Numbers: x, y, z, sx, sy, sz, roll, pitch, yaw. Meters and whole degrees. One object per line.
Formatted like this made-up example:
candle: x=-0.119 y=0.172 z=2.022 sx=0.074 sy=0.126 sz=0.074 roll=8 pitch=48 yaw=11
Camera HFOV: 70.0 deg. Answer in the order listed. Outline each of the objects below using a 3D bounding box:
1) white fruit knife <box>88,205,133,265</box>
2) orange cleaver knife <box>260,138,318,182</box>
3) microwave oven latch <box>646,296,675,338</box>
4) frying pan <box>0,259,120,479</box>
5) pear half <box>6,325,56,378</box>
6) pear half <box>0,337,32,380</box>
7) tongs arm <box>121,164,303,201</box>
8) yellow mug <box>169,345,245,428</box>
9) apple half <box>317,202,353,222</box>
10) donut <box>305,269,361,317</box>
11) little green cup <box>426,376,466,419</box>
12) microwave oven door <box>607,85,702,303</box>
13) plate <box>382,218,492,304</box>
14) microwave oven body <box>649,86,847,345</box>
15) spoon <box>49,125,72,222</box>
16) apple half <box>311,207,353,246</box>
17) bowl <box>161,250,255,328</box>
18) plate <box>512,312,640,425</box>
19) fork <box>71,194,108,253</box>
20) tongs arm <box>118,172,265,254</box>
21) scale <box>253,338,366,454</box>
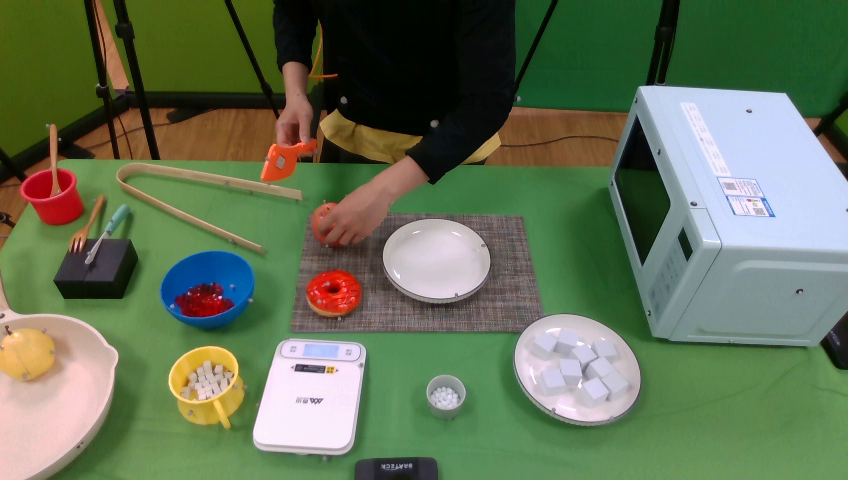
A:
white fruit knife: x=-0.584 y=-0.013 z=1.129 sx=0.016 sy=0.027 sz=0.206 roll=0 pitch=32 yaw=-5
orange cleaver knife: x=-0.251 y=-0.152 z=1.136 sx=0.012 sy=0.077 sz=0.211 roll=22 pitch=19 yaw=7
microwave oven latch: x=0.412 y=0.134 z=1.061 sx=0.030 sy=0.029 sz=0.078 roll=4 pitch=45 yaw=1
frying pan: x=-0.647 y=0.164 z=0.936 sx=0.307 sy=0.103 sz=0.485 roll=-19 pitch=58 yaw=-22
pear half: x=-0.608 y=0.158 z=0.935 sx=0.076 sy=0.110 sz=0.056 roll=31 pitch=51 yaw=20
pear half: x=-0.631 y=0.184 z=0.921 sx=0.070 sy=0.088 sz=0.031 roll=29 pitch=49 yaw=19
tongs arm: x=-0.444 y=-0.113 z=1.267 sx=0.384 sy=0.026 sz=0.050 roll=12 pitch=51 yaw=8
yellow mug: x=-0.322 y=0.230 z=0.922 sx=0.100 sy=0.064 sz=0.130 roll=-24 pitch=53 yaw=-25
apple half: x=-0.172 y=-0.048 z=1.187 sx=0.081 sy=0.081 sz=0.032 roll=13 pitch=53 yaw=8
donut: x=-0.160 y=0.094 z=1.075 sx=0.099 sy=0.048 sz=0.098 roll=4 pitch=46 yaw=-3
little green cup: x=0.033 y=0.248 z=0.950 sx=0.061 sy=0.039 sz=0.061 roll=2 pitch=46 yaw=-2
microwave oven door: x=0.423 y=-0.094 z=1.140 sx=0.039 sy=0.245 sz=0.353 roll=2 pitch=46 yaw=-1
plate: x=0.023 y=0.042 z=1.143 sx=0.209 sy=0.038 sz=0.208 roll=2 pitch=46 yaw=-2
microwave oven body: x=0.568 y=-0.053 z=1.118 sx=0.326 sy=0.261 sz=0.439 roll=2 pitch=45 yaw=-1
spoon: x=-0.718 y=-0.131 z=1.189 sx=0.041 sy=0.021 sz=0.193 roll=-4 pitch=90 yaw=-7
apple half: x=-0.182 y=-0.019 z=1.163 sx=0.081 sy=0.075 sz=0.053 roll=17 pitch=53 yaw=2
bowl: x=-0.362 y=0.098 z=1.039 sx=0.151 sy=0.077 sz=0.150 roll=2 pitch=45 yaw=-2
plate: x=0.246 y=0.213 z=0.999 sx=0.208 sy=0.039 sz=0.206 roll=2 pitch=46 yaw=-2
fork: x=-0.634 y=-0.036 z=1.158 sx=0.028 sy=0.019 sz=0.206 roll=-8 pitch=31 yaw=-8
tongs arm: x=-0.473 y=-0.054 z=1.212 sx=0.386 sy=0.028 sz=0.028 roll=23 pitch=57 yaw=17
scale: x=-0.175 y=0.236 z=0.951 sx=0.149 sy=0.032 sz=0.199 roll=5 pitch=45 yaw=-1
